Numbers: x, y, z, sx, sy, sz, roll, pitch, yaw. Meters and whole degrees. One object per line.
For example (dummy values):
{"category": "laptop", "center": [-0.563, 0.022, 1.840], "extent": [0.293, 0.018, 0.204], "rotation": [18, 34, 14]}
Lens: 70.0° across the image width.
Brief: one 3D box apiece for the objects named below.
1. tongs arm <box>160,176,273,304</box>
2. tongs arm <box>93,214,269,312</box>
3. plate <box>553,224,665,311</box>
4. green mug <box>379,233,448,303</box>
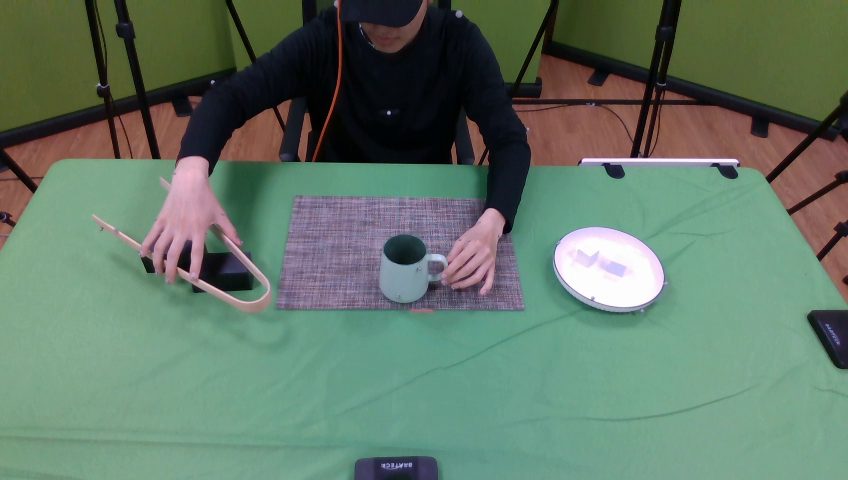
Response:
{"category": "tongs arm", "center": [-0.386, -0.011, 1.110], "extent": [0.028, 0.028, 0.385], "rotation": [-30, 56, -36]}
{"category": "tongs arm", "center": [-0.434, 0.031, 1.065], "extent": [0.383, 0.026, 0.050], "rotation": [28, 48, 20]}
{"category": "plate", "center": [0.349, 0.055, 1.159], "extent": [0.209, 0.038, 0.208], "rotation": [2, 47, -2]}
{"category": "green mug", "center": [-0.019, 0.050, 1.084], "extent": [0.125, 0.105, 0.092], "rotation": [-1, 46, -4]}
